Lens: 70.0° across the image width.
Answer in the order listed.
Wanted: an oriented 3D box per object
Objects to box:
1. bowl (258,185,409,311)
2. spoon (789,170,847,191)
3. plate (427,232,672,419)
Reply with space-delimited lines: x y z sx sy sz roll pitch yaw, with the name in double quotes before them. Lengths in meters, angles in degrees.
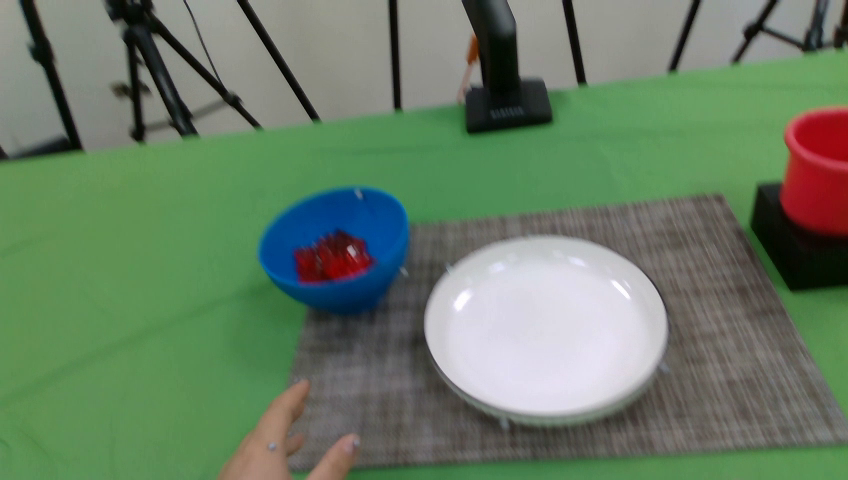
"bowl" -0.082 0.019 0.616 0.151 0.077 0.150 -7 40 6
"spoon" 0.365 -0.062 0.474 0.041 0.021 0.194 -20 -4 -9
"plate" 0.107 0.073 0.537 0.207 0.039 0.205 -7 40 6
